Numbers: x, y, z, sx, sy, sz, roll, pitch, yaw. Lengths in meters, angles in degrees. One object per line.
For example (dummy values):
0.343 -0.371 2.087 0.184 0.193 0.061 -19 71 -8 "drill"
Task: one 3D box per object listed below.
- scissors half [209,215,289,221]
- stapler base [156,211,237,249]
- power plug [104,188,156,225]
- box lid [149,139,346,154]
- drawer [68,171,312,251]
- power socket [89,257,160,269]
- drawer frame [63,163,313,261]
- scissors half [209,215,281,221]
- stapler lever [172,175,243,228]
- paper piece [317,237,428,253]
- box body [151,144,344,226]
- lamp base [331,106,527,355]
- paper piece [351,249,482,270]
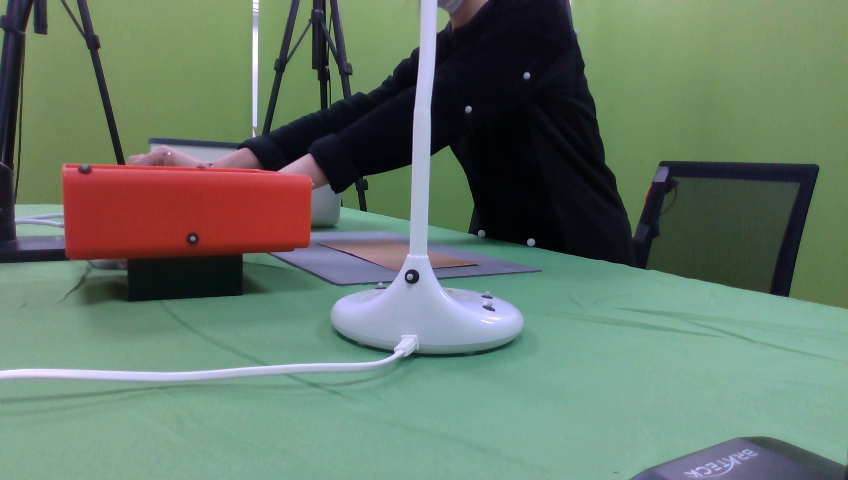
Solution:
-0.357 -0.044 1.235 0.175 0.013 0.040 1 -3 8 "scissors half"
-0.227 -0.017 0.624 0.041 0.024 0.130 19 9 -2 "stapler base"
-0.401 -0.046 0.834 0.073 0.052 0.035 0 -3 -45 "power plug"
-0.365 -0.191 1.255 0.373 0.015 0.262 -1 8 -24 "box lid"
-0.247 -0.036 0.629 0.213 0.073 0.193 -3 9 -30 "drawer"
-0.409 0.004 0.793 0.072 0.032 0.225 -2 8 -38 "power socket"
-0.248 -0.036 0.626 0.215 0.082 0.200 -3 9 -31 "drawer frame"
-0.364 -0.044 1.215 0.174 0.013 0.040 0 3 26 "scissors half"
-0.217 -0.042 0.618 0.027 0.040 0.118 19 11 -2 "stapler lever"
-0.084 0.008 0.951 0.136 0.004 0.134 -3 9 -29 "paper piece"
-0.370 -0.119 1.264 0.366 0.160 0.253 -1 8 -24 "box body"
0.006 -0.012 0.478 0.161 0.180 0.179 2 10 2 "lamp base"
-0.013 0.026 0.841 0.139 0.008 0.135 0 11 -32 "paper piece"
